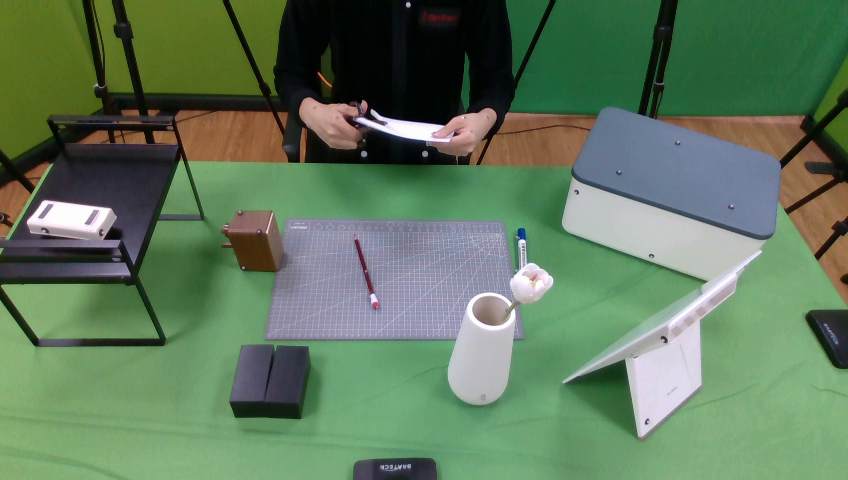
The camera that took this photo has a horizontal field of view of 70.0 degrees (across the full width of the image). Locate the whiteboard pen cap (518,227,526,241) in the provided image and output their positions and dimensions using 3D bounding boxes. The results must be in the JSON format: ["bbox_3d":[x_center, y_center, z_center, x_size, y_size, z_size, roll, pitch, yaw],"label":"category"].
[{"bbox_3d":[0.197,-0.009,1.220,0.018,0.018,0.033,6,51,1],"label":"whiteboard pen cap"}]

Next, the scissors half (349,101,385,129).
[{"bbox_3d":[-0.100,-0.211,1.044,0.013,0.040,0.174,-16,27,-20],"label":"scissors half"}]

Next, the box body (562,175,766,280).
[{"bbox_3d":[0.486,-0.088,1.222,0.363,0.161,0.253,20,48,15],"label":"box body"}]

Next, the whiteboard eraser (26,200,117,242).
[{"bbox_3d":[-0.532,-0.026,0.919,0.113,0.042,0.055,7,45,3],"label":"whiteboard eraser"}]

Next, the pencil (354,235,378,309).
[{"bbox_3d":[-0.113,0.055,1.143,0.012,0.012,0.192,-10,46,-13],"label":"pencil"}]

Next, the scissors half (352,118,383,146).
[{"bbox_3d":[-0.097,-0.190,1.049,0.013,0.175,0.040,-11,93,-21],"label":"scissors half"}]

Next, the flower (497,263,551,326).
[{"bbox_3d":[0.102,0.121,0.852,0.044,0.363,0.038,-2,64,-10],"label":"flower"}]

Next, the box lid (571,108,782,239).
[{"bbox_3d":[0.491,-0.139,1.168,0.370,0.015,0.262,21,49,15],"label":"box lid"}]

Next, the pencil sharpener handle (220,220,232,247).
[{"bbox_3d":[-0.362,-0.009,1.105,0.030,0.068,0.036,1,52,1],"label":"pencil sharpener handle"}]

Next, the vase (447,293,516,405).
[{"bbox_3d":[0.091,0.169,0.921,0.098,0.201,0.097,3,47,-3],"label":"vase"}]

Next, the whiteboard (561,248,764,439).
[{"bbox_3d":[0.386,0.176,0.905,0.217,0.306,0.143,-26,72,-27],"label":"whiteboard"}]

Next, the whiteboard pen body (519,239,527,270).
[{"bbox_3d":[0.193,0.035,1.181,0.017,0.017,0.140,6,48,1],"label":"whiteboard pen body"}]

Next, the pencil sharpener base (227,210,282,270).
[{"bbox_3d":[-0.311,0.001,1.112,0.077,0.107,0.061,1,47,1],"label":"pencil sharpener base"}]
